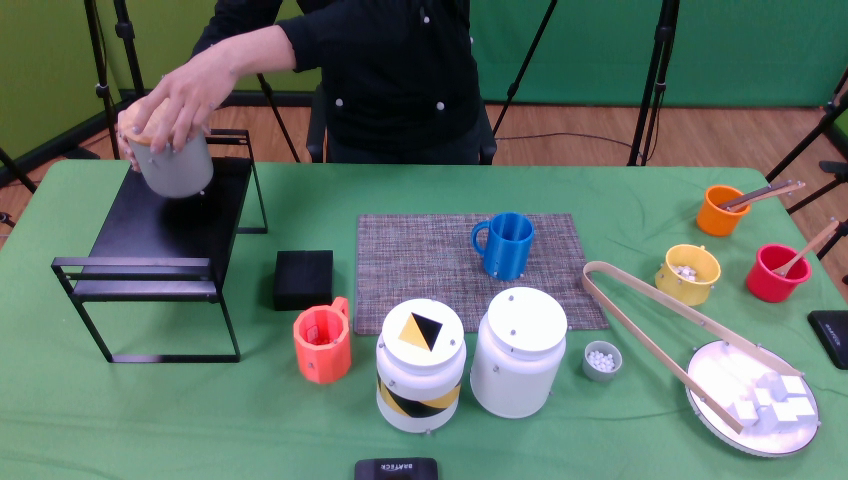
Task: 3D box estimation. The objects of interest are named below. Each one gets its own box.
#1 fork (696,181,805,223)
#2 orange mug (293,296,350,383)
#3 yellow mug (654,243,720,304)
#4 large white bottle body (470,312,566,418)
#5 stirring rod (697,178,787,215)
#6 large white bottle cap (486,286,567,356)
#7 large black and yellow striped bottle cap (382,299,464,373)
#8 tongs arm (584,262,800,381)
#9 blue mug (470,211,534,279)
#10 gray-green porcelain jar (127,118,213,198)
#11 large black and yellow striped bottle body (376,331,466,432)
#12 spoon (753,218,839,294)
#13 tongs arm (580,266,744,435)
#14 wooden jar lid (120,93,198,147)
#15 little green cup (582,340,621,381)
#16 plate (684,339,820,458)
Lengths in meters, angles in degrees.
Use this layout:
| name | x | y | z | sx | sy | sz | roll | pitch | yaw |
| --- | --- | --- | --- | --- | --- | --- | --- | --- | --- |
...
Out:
| name | x | y | z | sx | sy | sz | roll | pitch | yaw |
| --- | --- | --- | --- | --- | --- | --- | --- | --- | --- |
| fork | 0.659 | -0.077 | 1.232 | 0.207 | 0.019 | 0.028 | -26 | 36 | 34 |
| orange mug | -0.157 | 0.154 | 0.985 | 0.083 | 0.101 | 0.125 | 17 | 52 | 11 |
| yellow mug | 0.504 | 0.054 | 1.154 | 0.099 | 0.064 | 0.130 | 28 | 49 | 22 |
| large white bottle body | 0.143 | 0.174 | 0.930 | 0.131 | 0.185 | 0.130 | 2 | 46 | -2 |
| stirring rod | 0.650 | -0.088 | 1.246 | 0.006 | 0.176 | 0.014 | 29 | 50 | -39 |
| large white bottle cap | 0.147 | 0.114 | 0.869 | 0.115 | 0.018 | 0.114 | 3 | 46 | -3 |
| large black and yellow striped bottle cap | -0.002 | 0.132 | 0.843 | 0.115 | 0.019 | 0.114 | 2 | 46 | -1 |
| tongs arm | 0.452 | 0.137 | 1.064 | 0.051 | 0.027 | 0.382 | -34 | 50 | -27 |
| blue mug | 0.141 | 0.005 | 1.140 | 0.116 | 0.106 | 0.082 | 18 | 48 | 13 |
| gray-green porcelain jar | -0.389 | -0.135 | 0.935 | 0.106 | 0.127 | 0.105 | 3 | 54 | -4 |
| large black and yellow striped bottle body | -0.007 | 0.189 | 0.905 | 0.131 | 0.185 | 0.130 | 2 | 46 | -2 |
| spoon | 0.700 | 0.031 | 1.138 | 0.194 | 0.022 | 0.041 | -47 | 55 | 14 |
| tongs arm | 0.384 | 0.174 | 1.029 | 0.028 | 0.028 | 0.385 | -25 | 46 | -14 |
| wooden jar lid | -0.384 | -0.172 | 0.885 | 0.108 | 0.021 | 0.107 | 2 | 54 | -3 |
| little green cup | 0.295 | 0.204 | 1.014 | 0.061 | 0.039 | 0.061 | 2 | 45 | -2 |
| plate | 0.523 | 0.256 | 0.983 | 0.208 | 0.039 | 0.206 | 2 | 46 | -2 |
